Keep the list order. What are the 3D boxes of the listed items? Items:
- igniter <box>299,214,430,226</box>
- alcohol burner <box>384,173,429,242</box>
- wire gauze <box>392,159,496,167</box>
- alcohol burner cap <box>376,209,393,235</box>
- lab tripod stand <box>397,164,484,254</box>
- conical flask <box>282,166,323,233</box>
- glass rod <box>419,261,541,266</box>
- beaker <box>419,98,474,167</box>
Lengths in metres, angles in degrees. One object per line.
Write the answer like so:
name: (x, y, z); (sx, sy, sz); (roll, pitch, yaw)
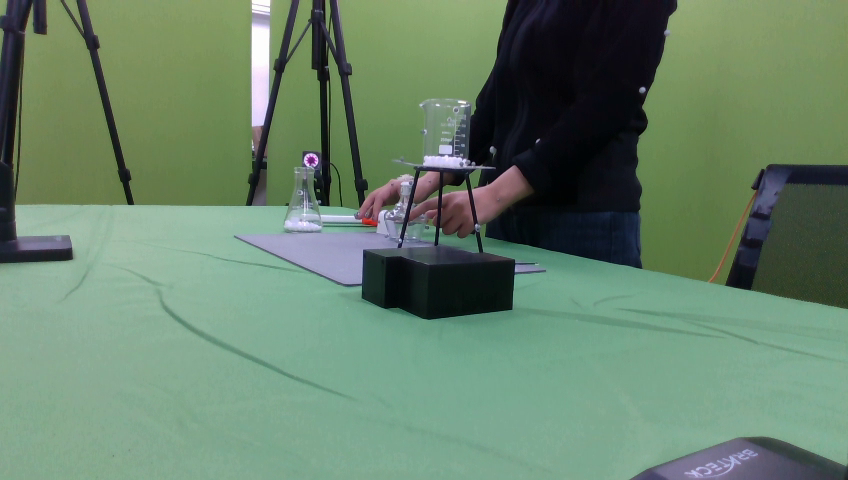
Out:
igniter: (-0.123, -0.044, 1.281); (0.278, 0.025, 0.057); (0, -2, -19)
alcohol burner: (-0.030, -0.057, 1.052); (0.078, 0.119, 0.078); (2, 10, 0)
wire gauze: (0.032, -0.114, 0.923); (0.124, 0.011, 0.122); (5, 5, 32)
alcohol burner cap: (-0.074, -0.036, 1.150); (0.034, 0.048, 0.034); (3, 9, 0)
lab tripod stand: (0.029, -0.048, 0.930); (0.148, 0.131, 0.148); (4, 6, 0)
conical flask: (-0.225, -0.076, 1.129); (0.075, 0.122, 0.075); (2, 8, 0)
glass rod: (0.080, 0.031, 0.807); (0.201, 0.008, 0.008); (1, 6, -32)
beaker: (0.032, -0.161, 0.913); (0.084, 0.100, 0.074); (1, 7, -10)
